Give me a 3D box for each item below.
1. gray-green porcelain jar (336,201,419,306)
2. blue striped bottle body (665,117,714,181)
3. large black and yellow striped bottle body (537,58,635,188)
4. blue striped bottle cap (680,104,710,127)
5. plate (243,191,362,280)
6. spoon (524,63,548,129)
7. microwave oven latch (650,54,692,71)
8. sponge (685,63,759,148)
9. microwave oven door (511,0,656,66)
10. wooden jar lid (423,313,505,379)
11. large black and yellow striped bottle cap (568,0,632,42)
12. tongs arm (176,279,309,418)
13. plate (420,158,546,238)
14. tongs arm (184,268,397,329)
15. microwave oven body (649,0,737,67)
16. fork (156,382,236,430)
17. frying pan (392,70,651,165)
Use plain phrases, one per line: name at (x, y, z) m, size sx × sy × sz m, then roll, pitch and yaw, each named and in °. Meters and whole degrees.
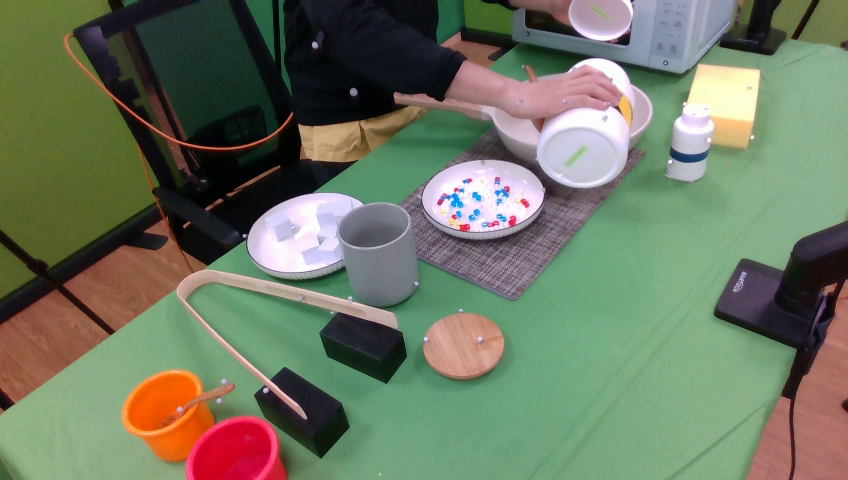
gray-green porcelain jar at (-0.064, 0.024, 0.872) m, size 0.106 × 0.127 × 0.105 m, roll -4°, pitch 41°, yaw 4°
blue striped bottle body at (0.450, -0.165, 1.022) m, size 0.063 × 0.121 × 0.063 m, roll -5°, pitch 41°, yaw 4°
large black and yellow striped bottle body at (0.256, -0.186, 0.940) m, size 0.130 × 0.131 × 0.183 m, roll 8°, pitch 50°, yaw 17°
blue striped bottle cap at (0.443, -0.205, 0.989) m, size 0.044 × 0.021 × 0.044 m, roll -1°, pitch 41°, yaw 2°
plate at (-0.188, -0.005, 0.992) m, size 0.207 × 0.039 × 0.206 m, roll -4°, pitch 41°, yaw 4°
spoon at (0.234, -0.281, 1.204) m, size 0.041 × 0.022 × 0.192 m, roll -14°, pitch 68°, yaw 1°
microwave oven latch at (0.530, -0.386, 1.301) m, size 0.078 × 0.029 × 0.030 m, roll 23°, pitch 50°, yaw 31°
sponge at (0.569, -0.263, 1.164) m, size 0.117 × 0.061 × 0.207 m, roll 12°, pitch 45°, yaw 22°
microwave oven door at (0.351, -0.540, 1.349) m, size 0.353 × 0.245 × 0.039 m, roll 24°, pitch 50°, yaw 31°
wooden jar lid at (0.053, 0.142, 0.800) m, size 0.108 × 0.021 × 0.108 m, roll -5°, pitch 39°, yaw 4°
large black and yellow striped bottle cap at (0.321, -0.414, 1.104) m, size 0.114 × 0.115 × 0.019 m, roll 13°, pitch 60°, yaw 22°
tongs arm at (-0.254, 0.133, 0.801) m, size 0.028 × 0.028 × 0.384 m, roll -41°, pitch 40°, yaw -23°
plate at (0.099, -0.067, 1.017) m, size 0.209 × 0.038 × 0.208 m, roll -4°, pitch 40°, yaw 4°
tongs arm at (-0.202, 0.084, 0.848) m, size 0.382 × 0.027 × 0.051 m, roll 11°, pitch 45°, yaw 35°
microwave oven body at (0.475, -0.602, 1.411) m, size 0.438 × 0.261 × 0.327 m, roll 23°, pitch 50°, yaw 32°
fork at (-0.262, 0.189, 0.690) m, size 0.018 × 0.206 × 0.028 m, roll 49°, pitch 43°, yaw -7°
frying pan at (0.175, -0.249, 1.166) m, size 0.487 × 0.103 × 0.306 m, roll 12°, pitch 43°, yaw 9°
